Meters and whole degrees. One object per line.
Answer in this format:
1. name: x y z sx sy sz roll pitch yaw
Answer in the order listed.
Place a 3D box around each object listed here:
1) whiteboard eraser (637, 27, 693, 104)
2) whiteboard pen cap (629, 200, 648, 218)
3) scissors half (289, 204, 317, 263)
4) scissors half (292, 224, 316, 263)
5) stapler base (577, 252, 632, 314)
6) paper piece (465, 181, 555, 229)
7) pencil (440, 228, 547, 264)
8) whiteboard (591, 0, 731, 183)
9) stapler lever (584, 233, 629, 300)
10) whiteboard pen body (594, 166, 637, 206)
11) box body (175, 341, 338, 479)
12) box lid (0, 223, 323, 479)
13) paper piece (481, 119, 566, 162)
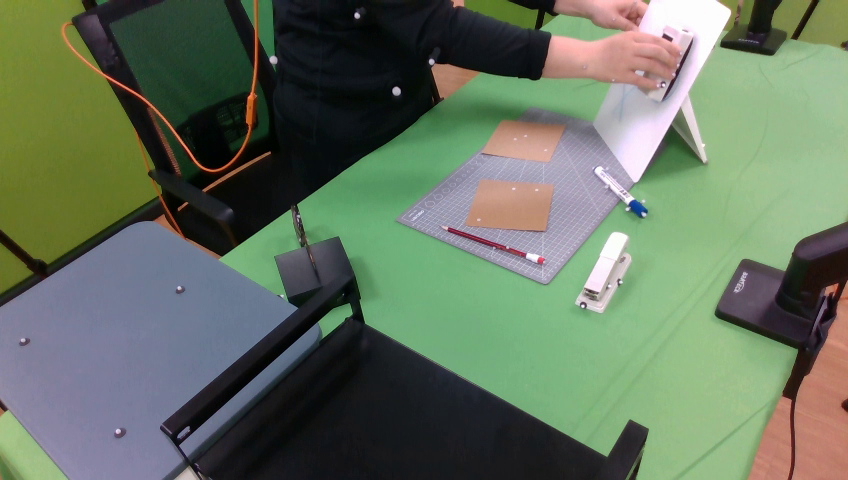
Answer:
1. whiteboard eraser: 0.388 -0.279 0.969 0.042 0.113 0.055 10 31 -13
2. whiteboard pen cap: 0.348 -0.052 0.983 0.018 0.018 0.033 -18 42 -12
3. scissors half: -0.189 -0.011 0.944 0.013 0.040 0.173 -13 36 -18
4. scissors half: -0.187 0.007 0.954 0.013 0.040 0.174 -18 21 -15
5. stapler base: 0.264 0.051 0.875 0.041 0.024 0.131 16 47 29
6. paper piece: 0.150 -0.062 1.034 0.137 0.009 0.136 4 37 17
7. pencil: 0.106 0.006 0.957 0.192 0.012 0.012 18 46 30
8. whiteboard: 0.452 -0.270 1.055 0.144 0.305 0.216 7 37 -14
9. stapler lever: 0.261 0.034 0.858 0.026 0.040 0.118 16 46 29
10. whiteboard pen body: 0.331 -0.085 1.027 0.017 0.017 0.139 -17 41 -10
11. box body: -0.311 0.165 0.720 0.361 0.161 0.255 23 48 32
12. box lid: -0.317 0.109 0.671 0.368 0.015 0.264 24 49 31
13. paper piece: 0.197 -0.199 1.188 0.135 0.004 0.135 11 44 21
